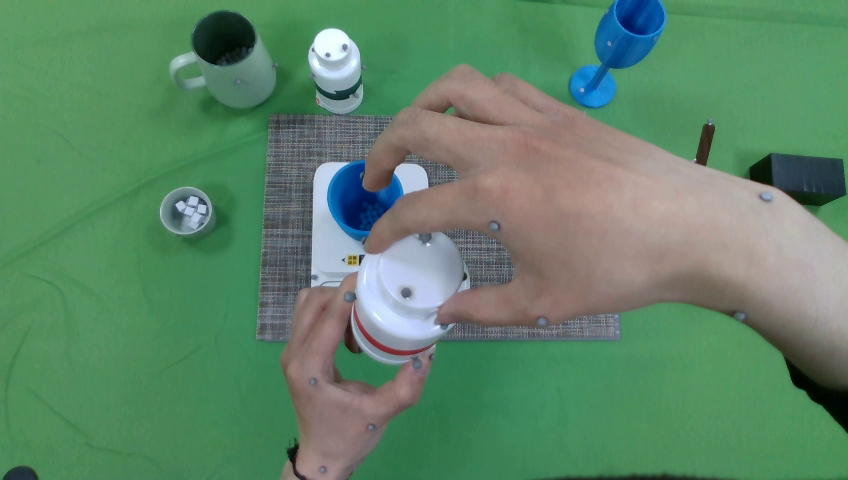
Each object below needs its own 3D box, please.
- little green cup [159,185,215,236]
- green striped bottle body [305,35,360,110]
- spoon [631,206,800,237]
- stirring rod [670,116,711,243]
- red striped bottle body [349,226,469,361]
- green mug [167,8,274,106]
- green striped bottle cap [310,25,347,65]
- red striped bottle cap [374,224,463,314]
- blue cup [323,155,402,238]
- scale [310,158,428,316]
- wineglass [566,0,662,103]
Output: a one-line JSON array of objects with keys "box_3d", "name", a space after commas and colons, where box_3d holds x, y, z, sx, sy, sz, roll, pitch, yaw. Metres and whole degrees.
[{"box_3d": [-0.293, -0.035, 0.757, 0.061, 0.039, 0.061, 1, 77, -4], "name": "little green cup"}, {"box_3d": [-0.115, -0.219, 0.770, 0.063, 0.119, 0.063, 1, 76, -3], "name": "green striped bottle body"}, {"box_3d": [0.348, -0.018, 0.740, 0.022, 0.192, 0.041, 20, 80, -43], "name": "spoon"}, {"box_3d": [0.329, -0.069, 0.750, 0.014, 0.177, 0.006, 5, 36, 11], "name": "stirring rod"}, {"box_3d": [-0.011, 0.032, 0.359, 0.063, 0.120, 0.062, 3, 70, -9], "name": "red striped bottle body"}, {"box_3d": [-0.261, -0.225, 0.770, 0.125, 0.105, 0.092, -22, 79, -8], "name": "green mug"}, {"box_3d": [-0.113, -0.232, 0.719, 0.044, 0.020, 0.044, 1, 76, -4], "name": "green striped bottle cap"}, {"box_3d": [-0.003, 0.014, 0.306, 0.044, 0.018, 0.044, 2, 70, -5], "name": "red striped bottle cap"}, {"box_3d": [-0.071, -0.042, 0.707, 0.093, 0.100, 0.092, 1, 79, -6], "name": "blue cup"}, {"box_3d": [-0.069, -0.006, 0.766, 0.149, 0.031, 0.200, -1, 78, -4], "name": "scale"}, {"box_3d": [0.236, -0.244, 0.771, 0.074, 0.173, 0.073, 1, 76, -3], "name": "wineglass"}]
